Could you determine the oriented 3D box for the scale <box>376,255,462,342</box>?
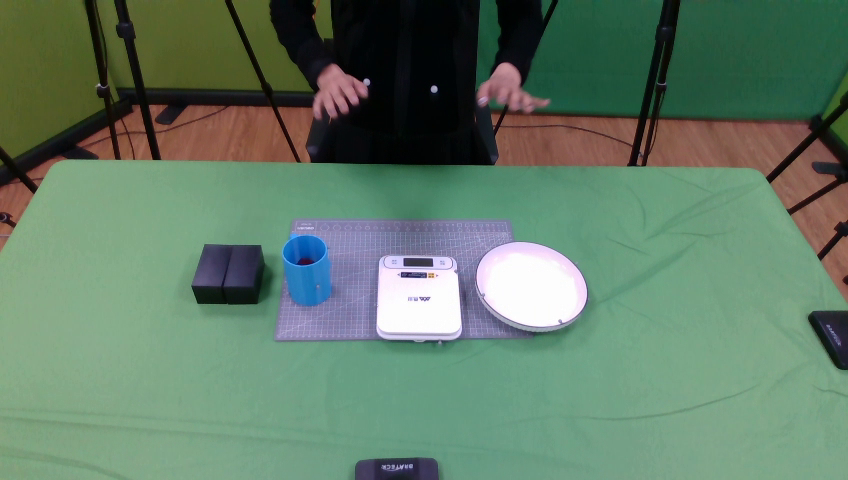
[{"bbox_3d":[-0.010,0.096,1.094,0.149,0.032,0.199,2,46,-3],"label":"scale"}]

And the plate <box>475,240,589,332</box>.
[{"bbox_3d":[0.195,0.087,1.112,0.209,0.038,0.208,3,46,-3],"label":"plate"}]

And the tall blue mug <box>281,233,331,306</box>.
[{"bbox_3d":[-0.219,0.046,1.073,0.107,0.108,0.077,28,52,21],"label":"tall blue mug"}]
